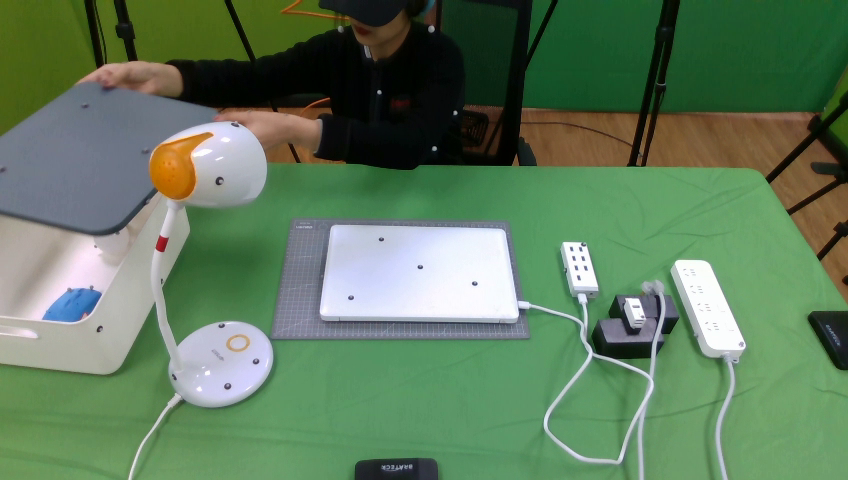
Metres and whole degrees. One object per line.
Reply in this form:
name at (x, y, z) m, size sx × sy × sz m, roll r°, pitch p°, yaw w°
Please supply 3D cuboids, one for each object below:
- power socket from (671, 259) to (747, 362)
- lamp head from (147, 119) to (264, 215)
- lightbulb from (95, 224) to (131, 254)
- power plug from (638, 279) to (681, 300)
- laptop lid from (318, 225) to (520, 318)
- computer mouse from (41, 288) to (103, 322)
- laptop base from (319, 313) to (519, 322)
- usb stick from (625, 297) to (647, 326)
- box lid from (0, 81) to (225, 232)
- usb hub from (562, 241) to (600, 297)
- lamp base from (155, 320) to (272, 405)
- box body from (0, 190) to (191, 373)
power socket at (0.516, 0.119, 1.108) m, size 0.072 × 0.033 × 0.225 m, roll 1°, pitch 46°, yaw -2°
lamp head at (-0.276, -0.087, 0.740) m, size 0.112 × 0.112 × 0.123 m, roll 20°, pitch 23°, yaw 15°
lightbulb at (-0.583, -0.014, 1.146) m, size 0.059 × 0.060 × 0.107 m, roll -10°, pitch 26°, yaw -13°
power plug at (0.434, 0.099, 1.118) m, size 0.073 × 0.053 × 0.035 m, roll 34°, pitch 37°, yaw -15°
laptop lid at (-0.009, 0.052, 1.131) m, size 0.357 × 0.013 × 0.240 m, roll 2°, pitch 43°, yaw -2°
computer mouse at (-0.593, 0.123, 1.016) m, size 0.063 × 0.041 × 0.116 m, roll 4°, pitch 41°, yaw 3°
laptop base at (-0.009, 0.062, 1.137) m, size 0.354 × 0.023 × 0.234 m, roll 1°, pitch 42°, yaw -3°
usb stick at (0.360, 0.116, 1.034) m, size 0.021 × 0.027 × 0.059 m, roll -2°, pitch 44°, yaw -2°
box lid at (-0.502, -0.144, 0.936) m, size 0.263 × 0.015 × 0.369 m, roll 13°, pitch 39°, yaw 2°
usb hub at (0.300, 0.055, 1.162) m, size 0.049 × 0.025 × 0.124 m, roll 2°, pitch 46°, yaw -3°
lamp base at (-0.330, 0.149, 0.918) m, size 0.160 × 0.181 × 0.179 m, roll 26°, pitch 52°, yaw 20°
box body at (-0.583, 0.033, 1.027) m, size 0.254 × 0.161 × 0.362 m, roll 5°, pitch 46°, yaw 2°
